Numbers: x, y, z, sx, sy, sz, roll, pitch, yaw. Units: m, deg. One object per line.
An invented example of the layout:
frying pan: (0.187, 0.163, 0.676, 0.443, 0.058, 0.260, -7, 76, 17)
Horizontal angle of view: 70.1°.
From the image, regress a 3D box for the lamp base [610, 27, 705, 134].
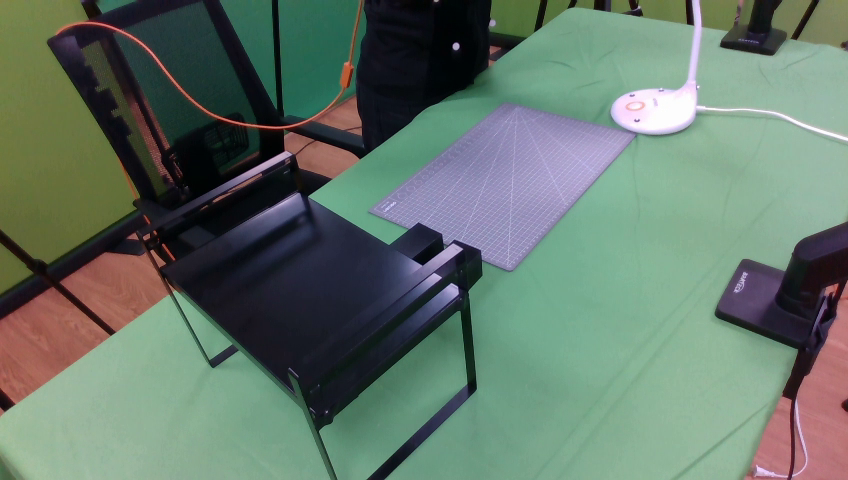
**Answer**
lamp base: (0.458, -0.316, 1.154, 0.179, 0.181, 0.159, -5, 41, 0)
